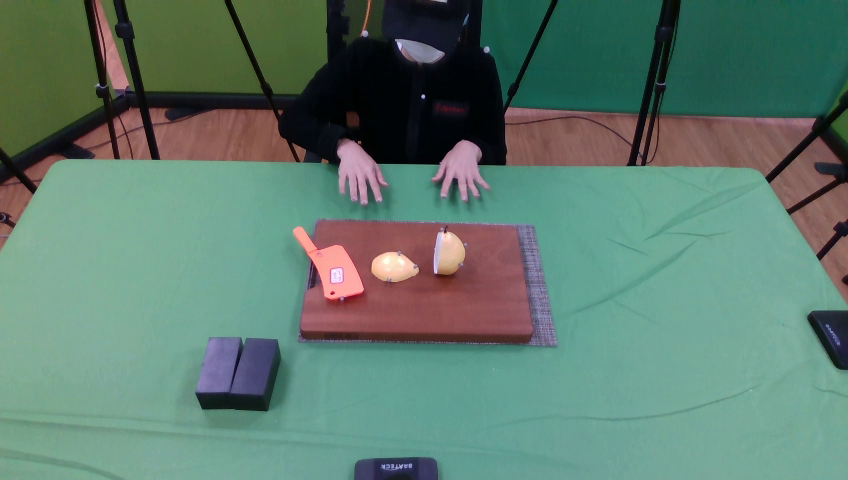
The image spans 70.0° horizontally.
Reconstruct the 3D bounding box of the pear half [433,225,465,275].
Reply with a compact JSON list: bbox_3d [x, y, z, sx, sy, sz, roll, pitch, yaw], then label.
[{"bbox_3d":[0.046,0.014,1.089,0.056,0.110,0.076,-3,50,-7],"label":"pear half"}]

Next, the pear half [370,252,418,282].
[{"bbox_3d":[-0.056,0.044,1.109,0.088,0.031,0.070,4,52,4],"label":"pear half"}]

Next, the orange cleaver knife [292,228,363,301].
[{"bbox_3d":[-0.180,0.037,1.113,0.077,0.012,0.210,-23,49,-19],"label":"orange cleaver knife"}]
